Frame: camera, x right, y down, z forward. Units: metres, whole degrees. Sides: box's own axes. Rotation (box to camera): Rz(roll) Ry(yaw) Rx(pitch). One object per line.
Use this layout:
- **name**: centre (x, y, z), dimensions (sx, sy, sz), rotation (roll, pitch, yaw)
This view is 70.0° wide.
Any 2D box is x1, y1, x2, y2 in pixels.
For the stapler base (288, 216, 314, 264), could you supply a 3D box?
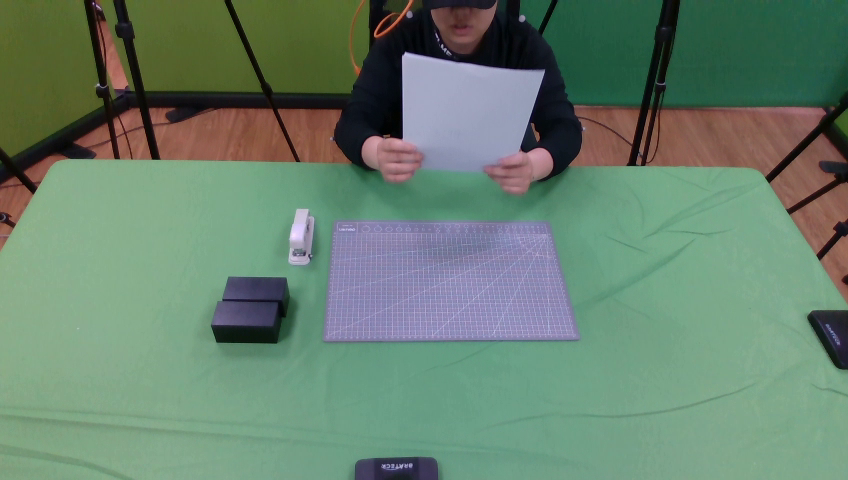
- **stapler base**: centre (-0.241, -0.007, 1.184), dimensions (0.041, 0.024, 0.129), rotation (1, 44, -6)

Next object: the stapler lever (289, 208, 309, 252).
- **stapler lever**: centre (-0.240, -0.026, 1.168), dimensions (0.027, 0.040, 0.117), rotation (1, 44, -5)
